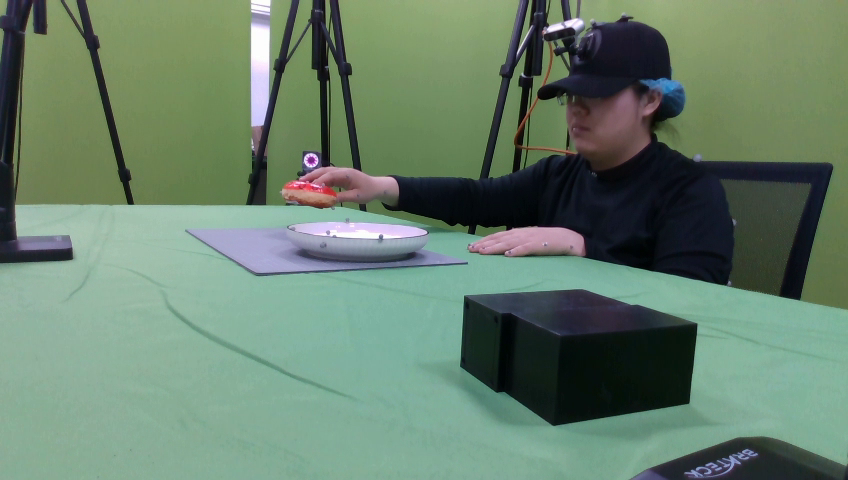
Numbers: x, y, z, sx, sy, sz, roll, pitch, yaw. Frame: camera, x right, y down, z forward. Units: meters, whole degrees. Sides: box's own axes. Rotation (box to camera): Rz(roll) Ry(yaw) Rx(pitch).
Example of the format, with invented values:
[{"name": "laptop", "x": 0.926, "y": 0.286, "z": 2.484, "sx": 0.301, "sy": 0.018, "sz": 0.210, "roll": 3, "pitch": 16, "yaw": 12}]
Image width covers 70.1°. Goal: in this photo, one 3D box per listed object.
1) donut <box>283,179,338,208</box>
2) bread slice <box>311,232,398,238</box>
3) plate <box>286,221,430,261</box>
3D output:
[{"name": "donut", "x": -0.205, "y": -0.083, "z": 1.092, "sx": 0.099, "sy": 0.048, "sz": 0.099, "roll": 9, "pitch": 4, "yaw": 0}, {"name": "bread slice", "x": -0.101, "y": 0.002, "z": 0.885, "sx": 0.135, "sy": 0.018, "sz": 0.106, "roll": -3, "pitch": 8, "yaw": -38}, {"name": "plate", "x": -0.096, "y": 0.001, "z": 0.886, "sx": 0.209, "sy": 0.038, "sz": 0.209, "roll": 2, "pitch": 7, "yaw": 0}]
